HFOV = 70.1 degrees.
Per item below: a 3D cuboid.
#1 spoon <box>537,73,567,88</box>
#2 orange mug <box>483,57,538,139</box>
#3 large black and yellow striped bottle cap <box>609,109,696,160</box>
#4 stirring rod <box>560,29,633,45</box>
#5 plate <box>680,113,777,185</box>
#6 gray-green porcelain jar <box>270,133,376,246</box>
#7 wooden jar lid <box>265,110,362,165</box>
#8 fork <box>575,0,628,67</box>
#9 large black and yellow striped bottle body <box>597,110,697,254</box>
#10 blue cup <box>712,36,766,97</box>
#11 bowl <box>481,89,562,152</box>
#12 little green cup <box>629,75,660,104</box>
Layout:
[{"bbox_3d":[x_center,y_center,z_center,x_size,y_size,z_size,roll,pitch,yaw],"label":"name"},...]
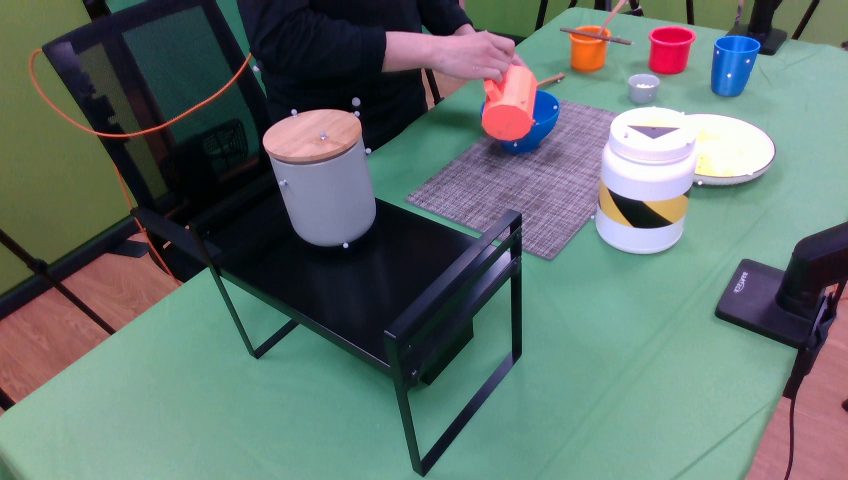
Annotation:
[{"bbox_3d":[0.250,-0.336,1.332,0.194,0.022,0.041,-32,32,-26],"label":"spoon"},{"bbox_3d":[0.142,-0.252,1.045,0.083,0.127,0.100,-9,50,32],"label":"orange mug"},{"bbox_3d":[0.319,-0.150,0.849,0.115,0.019,0.114,-4,39,3],"label":"large black and yellow striped bottle cap"},{"bbox_3d":[0.381,-0.452,1.345,0.174,0.006,0.014,25,49,33],"label":"stirring rod"},{"bbox_3d":[0.506,-0.158,1.073,0.209,0.038,0.208,-5,40,4],"label":"plate"},{"bbox_3d":[-0.115,-0.064,0.715,0.106,0.127,0.105,-4,40,4],"label":"gray-green porcelain jar"},{"bbox_3d":[-0.122,-0.112,0.673,0.108,0.021,0.108,-5,37,4],"label":"wooden jar lid"},{"bbox_3d":[0.413,-0.481,1.377,0.207,0.019,0.028,-56,43,12],"label":"fork"},{"bbox_3d":[0.331,-0.086,0.904,0.131,0.185,0.130,-5,41,4],"label":"large black and yellow striped bottle body"},{"bbox_3d":[0.627,-0.350,1.227,0.092,0.100,0.092,-4,39,4],"label":"blue cup"},{"bbox_3d":[0.187,-0.222,1.161,0.151,0.077,0.150,-4,40,4],"label":"bowl"},{"bbox_3d":[0.458,-0.314,1.260,0.061,0.039,0.061,-4,40,4],"label":"little green cup"}]
